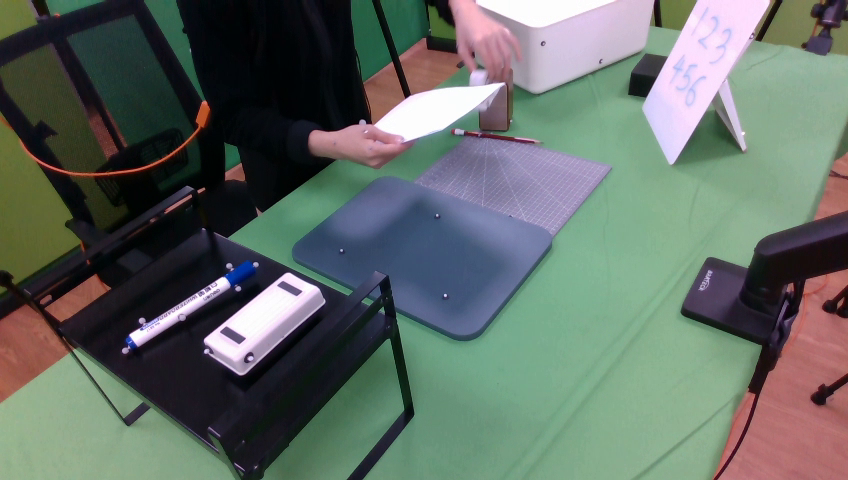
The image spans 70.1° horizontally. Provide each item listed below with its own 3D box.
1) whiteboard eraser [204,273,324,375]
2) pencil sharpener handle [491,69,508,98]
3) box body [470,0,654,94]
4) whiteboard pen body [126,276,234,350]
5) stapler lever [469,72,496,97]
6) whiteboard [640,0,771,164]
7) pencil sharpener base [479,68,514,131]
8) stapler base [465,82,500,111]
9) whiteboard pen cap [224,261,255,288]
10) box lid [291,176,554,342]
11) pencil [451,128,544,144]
[{"bbox_3d":[-0.157,0.084,0.605,0.055,0.042,0.113,24,49,30],"label":"whiteboard eraser"},{"bbox_3d":[0.155,-0.329,1.254,0.036,0.068,0.030,17,43,3],"label":"pencil sharpener handle"},{"bbox_3d":[0.319,-0.498,1.405,0.365,0.161,0.252,-26,43,-21],"label":"box body"},{"bbox_3d":[-0.251,0.071,0.649,0.141,0.017,0.017,-36,48,-26],"label":"whiteboard pen body"},{"bbox_3d":[0.106,-0.289,1.084,0.027,0.040,0.118,10,32,15],"label":"stapler lever"},{"bbox_3d":[0.543,-0.299,1.076,0.144,0.305,0.216,12,40,-7],"label":"whiteboard"},{"bbox_3d":[0.148,-0.286,1.225,0.061,0.107,0.076,5,42,15],"label":"pencil sharpener base"},{"bbox_3d":[0.107,-0.266,1.096,0.041,0.024,0.130,10,32,15],"label":"stapler base"},{"bbox_3d":[-0.207,0.039,0.677,0.033,0.018,0.018,-36,47,-18],"label":"whiteboard pen cap"},{"bbox_3d":[-0.005,0.011,0.971,0.368,0.015,0.264,21,49,30],"label":"box lid"},{"bbox_3d":[0.145,-0.206,1.204,0.193,0.012,0.012,12,44,21],"label":"pencil"}]
